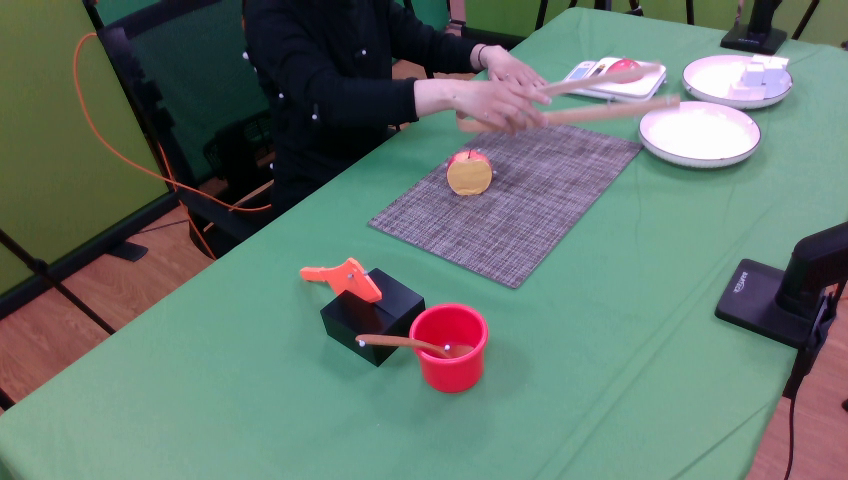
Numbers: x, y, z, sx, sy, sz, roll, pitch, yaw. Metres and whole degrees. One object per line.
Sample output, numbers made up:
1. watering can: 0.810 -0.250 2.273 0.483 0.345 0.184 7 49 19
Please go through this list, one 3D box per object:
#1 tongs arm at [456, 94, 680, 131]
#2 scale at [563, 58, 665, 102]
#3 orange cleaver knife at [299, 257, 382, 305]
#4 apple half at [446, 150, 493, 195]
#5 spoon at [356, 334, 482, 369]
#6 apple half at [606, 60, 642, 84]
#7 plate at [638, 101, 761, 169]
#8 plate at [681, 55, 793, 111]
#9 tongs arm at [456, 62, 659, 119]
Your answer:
1. tongs arm: 0.247 -0.231 1.077 0.384 0.027 0.050 -6 43 10
2. scale: 0.406 -0.348 1.314 0.199 0.032 0.149 19 47 28
3. orange cleaver knife: -0.124 0.061 0.872 0.012 0.077 0.210 -38 17 -30
4. apple half: 0.080 -0.124 1.065 0.081 0.075 0.053 -7 37 6
5. spoon: -0.001 0.130 0.731 0.195 0.021 0.041 21 28 -39
6. apple half: 0.424 -0.362 1.282 0.081 0.033 0.081 -3 40 3
7. plate: 0.500 -0.189 1.111 0.209 0.038 0.208 -4 41 4
8. plate: 0.636 -0.317 1.239 0.207 0.039 0.206 -4 40 4
9. tongs arm: 0.249 -0.278 1.130 0.387 0.028 0.028 -13 46 2
